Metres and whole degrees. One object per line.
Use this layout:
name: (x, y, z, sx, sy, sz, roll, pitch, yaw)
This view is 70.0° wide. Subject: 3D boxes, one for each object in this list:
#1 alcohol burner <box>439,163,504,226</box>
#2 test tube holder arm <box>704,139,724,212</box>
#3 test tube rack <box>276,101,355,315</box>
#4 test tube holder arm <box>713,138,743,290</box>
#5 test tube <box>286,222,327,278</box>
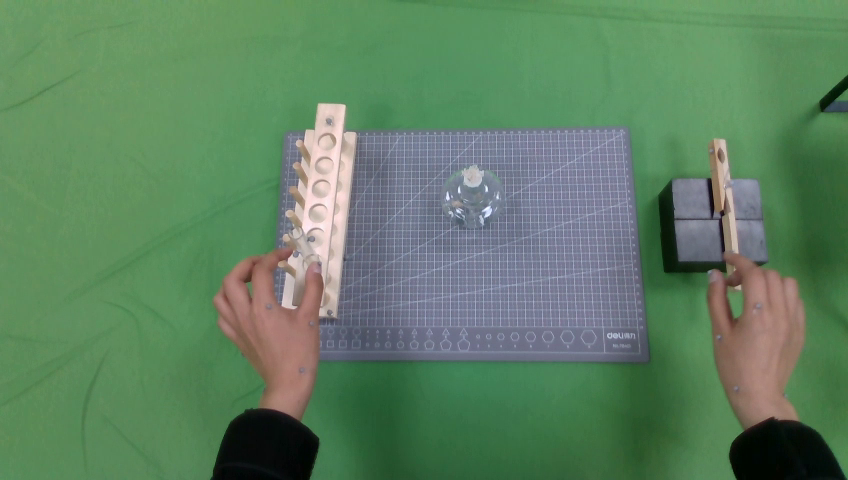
alcohol burner: (0.055, -0.059, 0.707, 0.078, 0.120, 0.077, -1, 76, 4)
test tube holder arm: (0.337, -0.075, 0.701, 0.010, 0.015, 0.087, 0, 74, -2)
test tube rack: (-0.133, -0.038, 0.723, 0.067, 0.085, 0.241, 3, 75, 3)
test tube holder arm: (0.344, -0.032, 0.690, 0.013, 0.015, 0.177, -2, 75, -3)
test tube: (-0.125, 0.015, 0.657, 0.017, 0.151, 0.017, 0, 69, 1)
